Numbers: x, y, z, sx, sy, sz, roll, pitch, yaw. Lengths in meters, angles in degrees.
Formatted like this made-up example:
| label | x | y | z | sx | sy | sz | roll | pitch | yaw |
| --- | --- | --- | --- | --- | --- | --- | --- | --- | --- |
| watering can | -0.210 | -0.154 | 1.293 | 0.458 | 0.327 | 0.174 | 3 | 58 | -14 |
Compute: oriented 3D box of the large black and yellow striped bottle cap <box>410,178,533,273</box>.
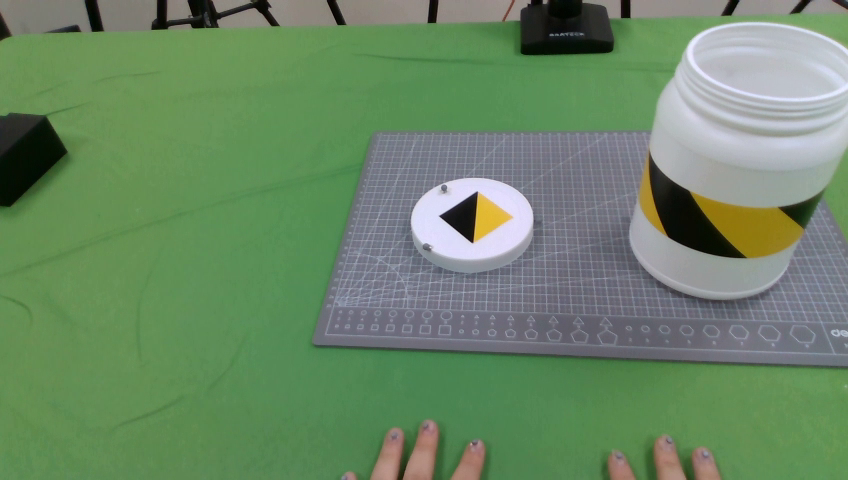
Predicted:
| label | x | y | z | sx | sy | sz | roll | pitch | yaw |
| --- | --- | --- | --- | --- | --- | --- | --- | --- | --- |
| large black and yellow striped bottle cap | 0.044 | -0.017 | 0.568 | 0.115 | 0.019 | 0.114 | -2 | 46 | 2 |

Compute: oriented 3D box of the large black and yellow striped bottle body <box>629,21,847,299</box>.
| label | x | y | z | sx | sy | sz | roll | pitch | yaw |
| --- | --- | --- | --- | --- | --- | --- | --- | --- | --- |
| large black and yellow striped bottle body | 0.238 | -0.058 | 0.468 | 0.131 | 0.186 | 0.129 | -3 | 45 | 4 |
